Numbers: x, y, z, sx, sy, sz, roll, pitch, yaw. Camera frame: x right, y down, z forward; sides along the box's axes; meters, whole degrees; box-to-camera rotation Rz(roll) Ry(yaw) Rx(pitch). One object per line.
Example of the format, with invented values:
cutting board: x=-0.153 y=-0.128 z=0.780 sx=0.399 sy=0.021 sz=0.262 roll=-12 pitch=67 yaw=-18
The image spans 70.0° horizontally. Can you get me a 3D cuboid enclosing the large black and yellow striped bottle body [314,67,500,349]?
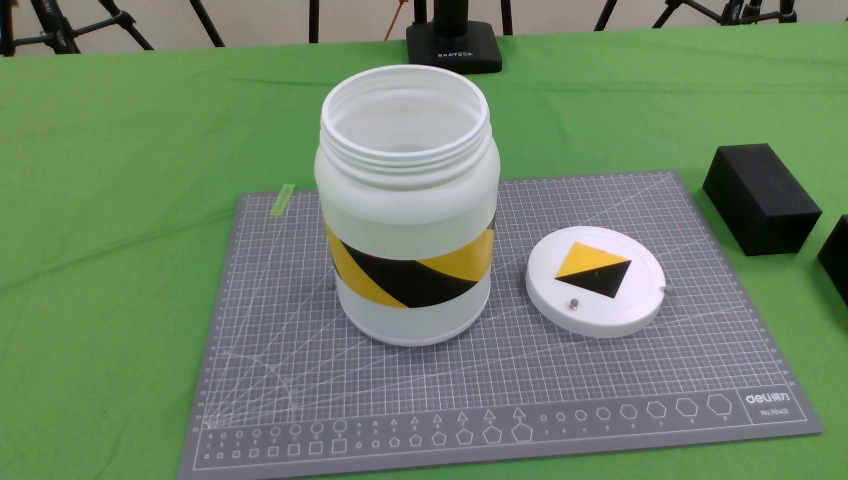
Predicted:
large black and yellow striped bottle body: x=-0.011 y=-0.021 z=0.455 sx=0.131 sy=0.185 sz=0.129 roll=0 pitch=45 yaw=1

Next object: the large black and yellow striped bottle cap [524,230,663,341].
large black and yellow striped bottle cap: x=0.143 y=0.035 z=0.518 sx=0.115 sy=0.019 sz=0.114 roll=0 pitch=44 yaw=0
